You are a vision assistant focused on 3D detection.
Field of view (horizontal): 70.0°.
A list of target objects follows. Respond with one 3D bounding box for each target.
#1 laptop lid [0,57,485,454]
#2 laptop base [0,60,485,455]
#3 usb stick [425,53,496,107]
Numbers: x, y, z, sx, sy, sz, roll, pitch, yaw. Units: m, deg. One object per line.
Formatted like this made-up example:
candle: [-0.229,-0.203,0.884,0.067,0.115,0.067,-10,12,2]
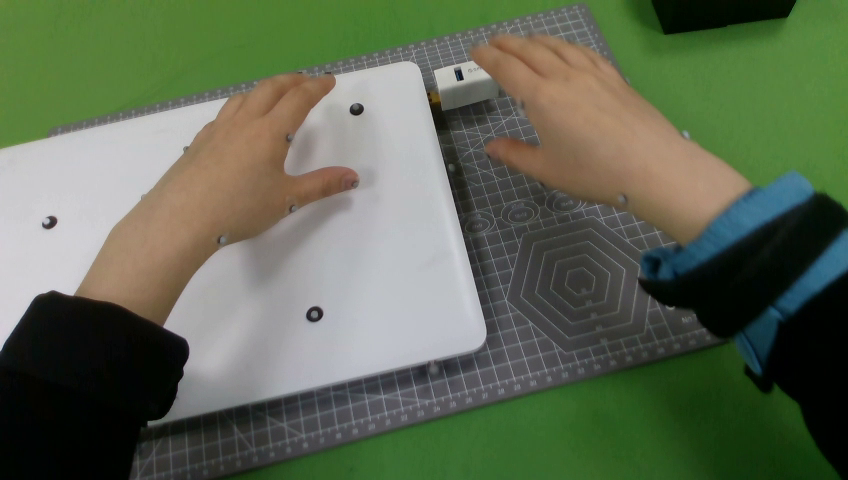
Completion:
laptop lid: [-0.155,-0.001,0.409,0.357,0.013,0.239,-11,65,0]
laptop base: [-0.154,0.002,0.420,0.354,0.023,0.233,-13,66,-1]
usb stick: [0.022,-0.117,0.448,0.059,0.027,0.021,-14,64,4]
